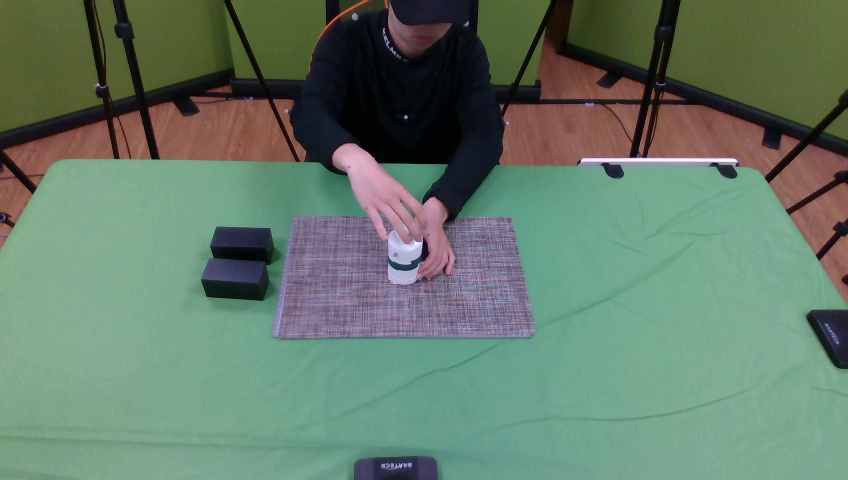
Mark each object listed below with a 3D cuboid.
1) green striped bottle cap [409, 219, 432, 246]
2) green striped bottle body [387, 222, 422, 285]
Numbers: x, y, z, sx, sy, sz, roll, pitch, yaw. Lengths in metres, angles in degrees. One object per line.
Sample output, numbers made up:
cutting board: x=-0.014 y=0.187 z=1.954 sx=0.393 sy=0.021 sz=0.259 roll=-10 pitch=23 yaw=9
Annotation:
green striped bottle cap: x=-0.006 y=-0.012 z=1.025 sx=0.020 sy=0.044 sz=0.044 roll=-13 pitch=36 yaw=33
green striped bottle body: x=-0.036 y=0.021 z=1.102 sx=0.063 sy=0.120 sz=0.063 roll=2 pitch=46 yaw=-2
